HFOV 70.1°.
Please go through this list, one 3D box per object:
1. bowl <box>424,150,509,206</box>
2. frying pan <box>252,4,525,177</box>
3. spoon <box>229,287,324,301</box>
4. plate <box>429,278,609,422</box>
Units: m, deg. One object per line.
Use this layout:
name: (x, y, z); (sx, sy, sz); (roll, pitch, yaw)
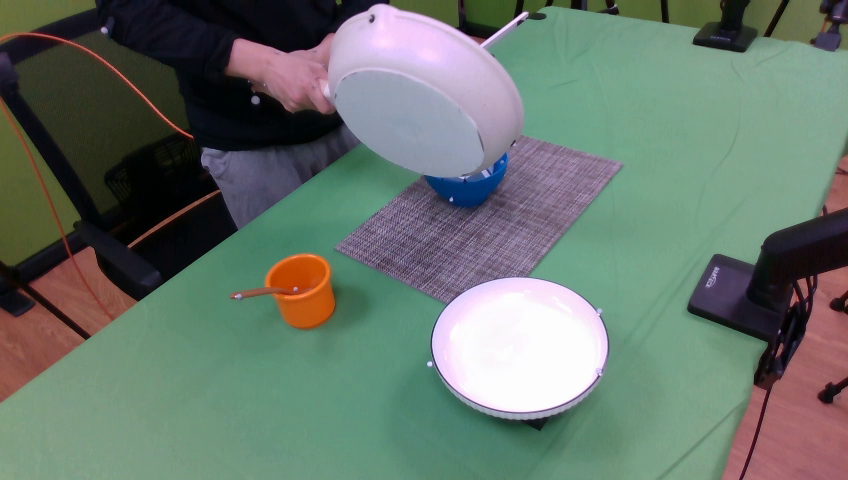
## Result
bowl: (0.071, -0.112, 1.038); (0.151, 0.077, 0.150); (-4, 40, 4)
frying pan: (-0.089, -0.212, 0.901); (0.484, 0.309, 0.103); (19, 68, 33)
spoon: (-0.197, 0.071, 0.816); (0.041, 0.195, 0.021); (12, 88, 23)
plate: (0.111, 0.129, 0.716); (0.207, 0.039, 0.206); (-5, 39, 4)
